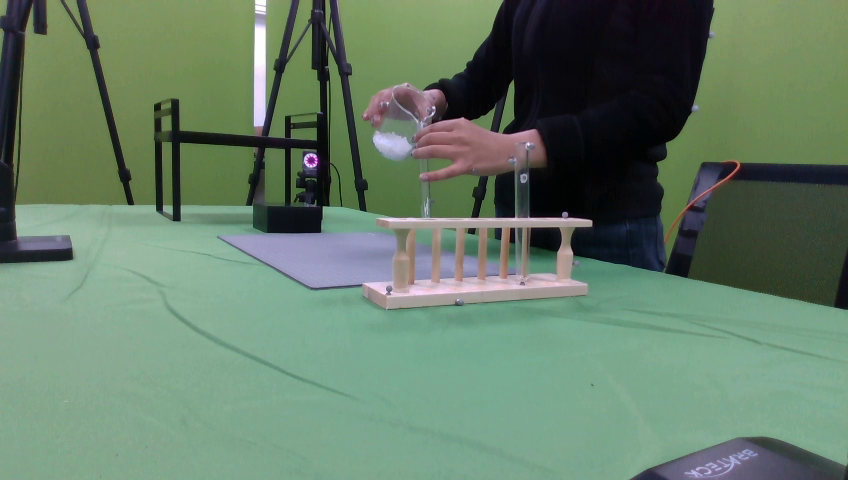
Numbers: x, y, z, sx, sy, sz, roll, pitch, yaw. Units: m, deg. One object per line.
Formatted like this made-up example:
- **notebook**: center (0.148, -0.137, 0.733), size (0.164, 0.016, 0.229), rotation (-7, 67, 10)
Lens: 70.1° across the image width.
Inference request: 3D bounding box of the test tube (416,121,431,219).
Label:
- **test tube**: center (-0.001, -0.103, 0.896), size (0.017, 0.150, 0.017), rotation (-3, -8, 0)

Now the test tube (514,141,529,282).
- **test tube**: center (0.103, -0.028, 0.636), size (0.017, 0.150, 0.017), rotation (-2, 12, 1)

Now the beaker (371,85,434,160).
- **beaker**: center (-0.037, -0.182, 0.964), size (0.074, 0.100, 0.083), rotation (3, 49, -30)

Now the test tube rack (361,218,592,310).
- **test tube rack**: center (0.060, 0.019, 0.640), size (0.243, 0.085, 0.066), rotation (-1, 8, -27)
